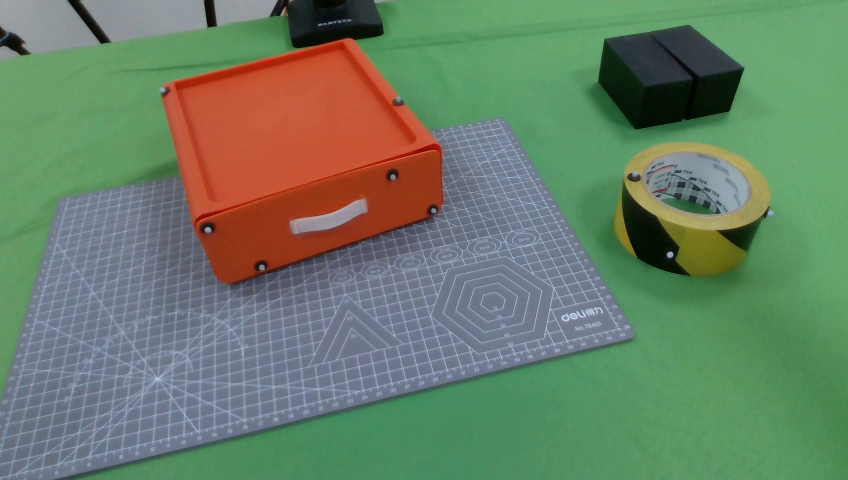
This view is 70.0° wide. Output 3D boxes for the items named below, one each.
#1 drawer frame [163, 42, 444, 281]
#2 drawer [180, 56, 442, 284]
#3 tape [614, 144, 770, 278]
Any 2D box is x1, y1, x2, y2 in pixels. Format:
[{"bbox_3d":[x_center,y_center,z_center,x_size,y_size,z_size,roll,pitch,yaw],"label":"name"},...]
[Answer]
[{"bbox_3d":[-0.116,-0.083,0.555,0.202,0.083,0.211,-20,46,-15],"label":"drawer frame"},{"bbox_3d":[-0.114,-0.079,0.553,0.195,0.074,0.209,-20,46,-14],"label":"drawer"},{"bbox_3d":[0.217,-0.027,0.501,0.117,0.053,0.115,-1,45,2],"label":"tape"}]
